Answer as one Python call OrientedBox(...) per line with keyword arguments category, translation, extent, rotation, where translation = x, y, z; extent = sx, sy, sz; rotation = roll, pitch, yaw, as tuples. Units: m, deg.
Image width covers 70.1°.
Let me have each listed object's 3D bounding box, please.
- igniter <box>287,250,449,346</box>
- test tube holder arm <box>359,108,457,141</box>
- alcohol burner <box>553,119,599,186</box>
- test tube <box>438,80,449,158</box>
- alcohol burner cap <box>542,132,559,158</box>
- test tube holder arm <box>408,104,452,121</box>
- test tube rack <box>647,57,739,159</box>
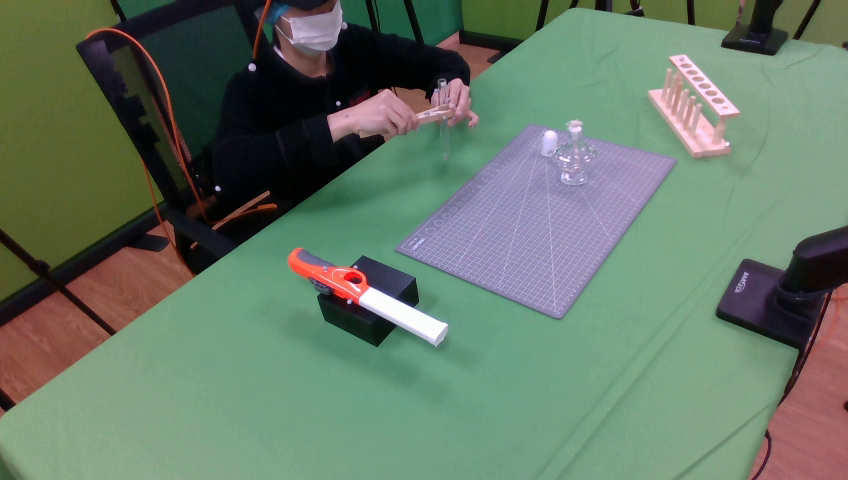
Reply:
OrientedBox(category="igniter", translation=(-0.087, 0.073, 0.825), extent=(0.274, 0.025, 0.057), rotation=(23, 48, 28))
OrientedBox(category="test tube holder arm", translation=(-0.025, -0.198, 1.031), extent=(0.179, 0.015, 0.013), rotation=(-19, 42, -18))
OrientedBox(category="alcohol burner", translation=(0.261, -0.153, 1.042), extent=(0.078, 0.119, 0.077), rotation=(-6, 40, 6))
OrientedBox(category="test tube", translation=(0.035, -0.210, 1.066), extent=(0.017, 0.151, 0.017), rotation=(-2, 39, 2))
OrientedBox(category="alcohol burner cap", translation=(0.238, -0.180, 1.134), extent=(0.034, 0.048, 0.033), rotation=(-5, 41, 5))
OrientedBox(category="test tube holder arm", translation=(0.011, -0.216, 1.051), extent=(0.088, 0.015, 0.010), rotation=(-26, 45, -25))
OrientedBox(category="test tube rack", translation=(0.504, -0.257, 1.153), extent=(0.067, 0.085, 0.241), rotation=(-8, 40, 1))
